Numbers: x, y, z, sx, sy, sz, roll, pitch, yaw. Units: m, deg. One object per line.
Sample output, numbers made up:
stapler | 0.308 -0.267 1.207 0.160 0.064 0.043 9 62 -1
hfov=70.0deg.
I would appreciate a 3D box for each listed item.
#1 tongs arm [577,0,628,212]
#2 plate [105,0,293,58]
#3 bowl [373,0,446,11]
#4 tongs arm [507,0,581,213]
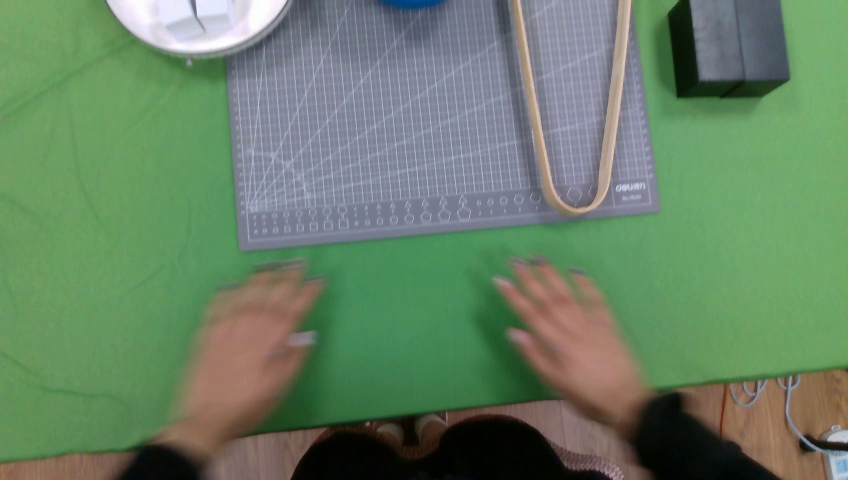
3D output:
tongs arm | 0.203 -0.218 0.662 0.028 0.028 0.386 9 83 -9
plate | -0.232 -0.288 0.640 0.208 0.039 0.207 0 83 -2
bowl | -0.017 -0.300 0.634 0.151 0.077 0.151 1 83 -4
tongs arm | 0.119 -0.218 0.654 0.051 0.026 0.383 -5 84 -8
